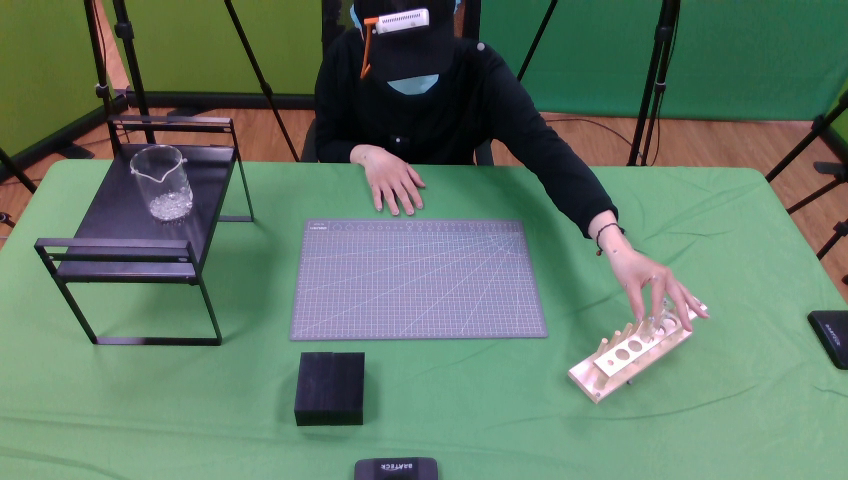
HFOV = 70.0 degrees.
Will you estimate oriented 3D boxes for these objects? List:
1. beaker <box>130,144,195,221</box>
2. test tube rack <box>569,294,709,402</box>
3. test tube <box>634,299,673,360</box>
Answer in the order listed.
[{"bbox_3d":[-0.403,-0.085,0.944,0.074,0.101,0.083,-15,50,-17],"label":"beaker"},{"bbox_3d":[0.360,0.167,1.014,0.242,0.085,0.066,-25,53,-25],"label":"test tube rack"},{"bbox_3d":[0.361,0.146,0.965,0.017,0.151,0.017,3,46,-3],"label":"test tube"}]
